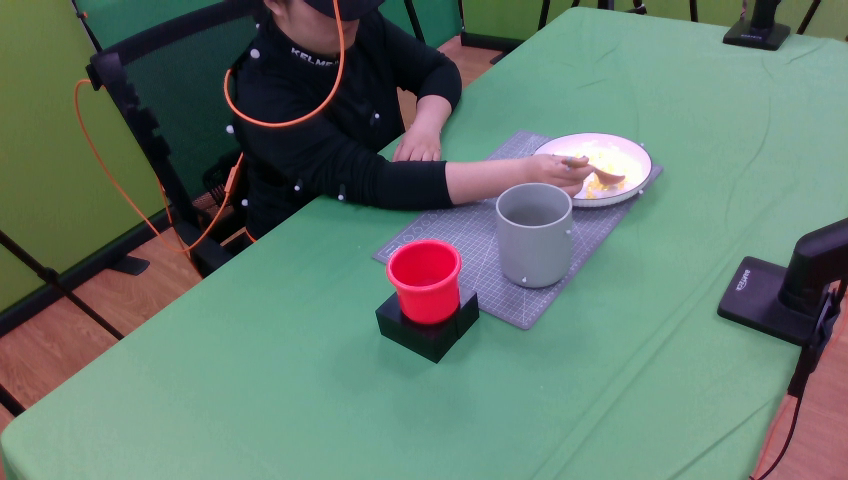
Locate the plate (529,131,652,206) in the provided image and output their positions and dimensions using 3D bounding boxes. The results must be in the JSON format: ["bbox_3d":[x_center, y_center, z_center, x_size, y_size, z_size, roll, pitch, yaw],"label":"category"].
[{"bbox_3d":[0.287,-0.121,1.056,0.207,0.039,0.206,-5,40,5],"label":"plate"}]

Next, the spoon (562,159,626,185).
[{"bbox_3d":[0.265,-0.109,0.952,0.041,0.195,0.021,-10,76,41],"label":"spoon"}]

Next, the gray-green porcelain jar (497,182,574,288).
[{"bbox_3d":[0.160,-0.003,0.869,0.106,0.127,0.105,-5,40,5],"label":"gray-green porcelain jar"}]
